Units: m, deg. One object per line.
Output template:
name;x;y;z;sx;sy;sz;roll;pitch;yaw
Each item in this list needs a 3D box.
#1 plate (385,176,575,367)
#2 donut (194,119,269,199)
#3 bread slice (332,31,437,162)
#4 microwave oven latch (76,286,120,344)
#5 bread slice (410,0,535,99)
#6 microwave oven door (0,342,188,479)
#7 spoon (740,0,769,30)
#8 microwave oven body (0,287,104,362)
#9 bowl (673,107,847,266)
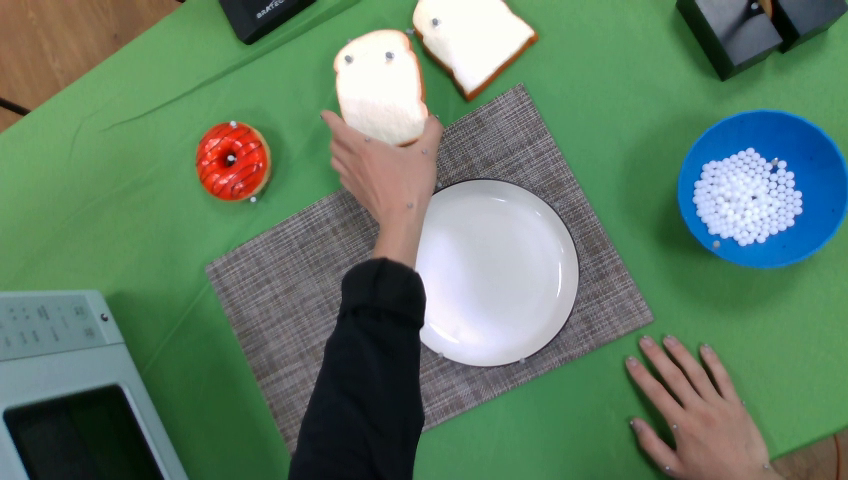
plate;0.061;0.035;0.672;0.207;0.039;0.207;-1;88;12
donut;-0.236;-0.098;0.742;0.099;0.048;0.099;0;88;15
bread slice;-0.050;-0.161;0.668;0.107;0.018;0.134;-18;83;18
microwave oven latch;-0.414;0.096;0.757;0.030;0.029;0.079;-30;83;9
bread slice;0.046;-0.244;0.701;0.105;0.019;0.131;-43;81;6
microwave oven door;-0.333;0.282;0.628;0.039;0.244;0.354;-31;82;9
spoon;0.306;-0.235;0.554;0.021;0.194;0.041;-28;79;24
microwave oven body;-0.476;0.318;0.662;0.326;0.261;0.440;-30;82;9
bowl;0.321;-0.048;0.603;0.151;0.077;0.151;-1;87;12
